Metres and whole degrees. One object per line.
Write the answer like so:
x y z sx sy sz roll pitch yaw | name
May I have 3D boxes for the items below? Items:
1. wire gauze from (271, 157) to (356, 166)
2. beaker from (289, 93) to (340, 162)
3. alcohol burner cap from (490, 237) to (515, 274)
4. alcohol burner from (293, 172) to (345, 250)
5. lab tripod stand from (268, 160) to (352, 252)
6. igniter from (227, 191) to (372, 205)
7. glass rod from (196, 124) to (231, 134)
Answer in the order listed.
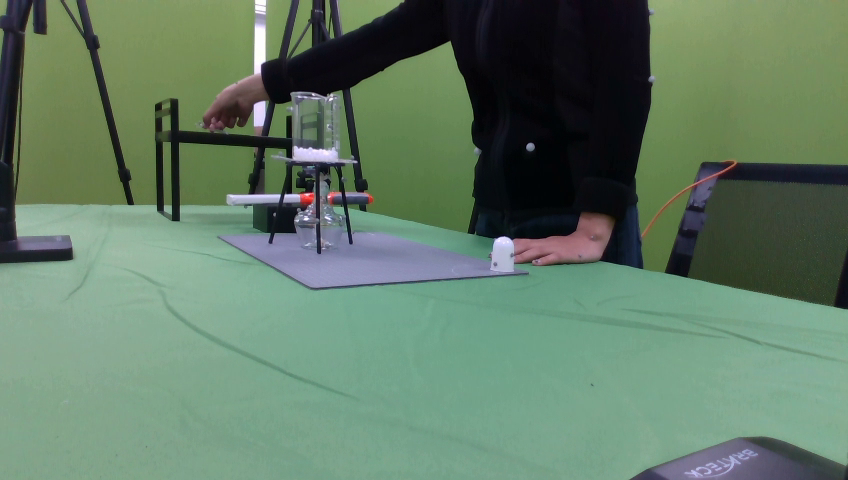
-0.166 -0.120 0.917 0.125 0.011 0.121 -2 6 -8 | wire gauze
-0.162 -0.167 0.908 0.074 0.100 0.083 -4 10 -31 | beaker
0.104 0.020 0.793 0.034 0.048 0.034 3 6 0 | alcohol burner cap
-0.159 -0.044 0.921 0.078 0.119 0.078 4 7 0 | alcohol burner
-0.171 -0.055 0.921 0.148 0.131 0.148 1 9 0 | lab tripod stand
-0.232 -0.080 1.161 0.278 0.025 0.057 -3 12 -28 | igniter
-0.452 -0.238 1.292 0.008 0.008 0.198 -4 15 -39 | glass rod
